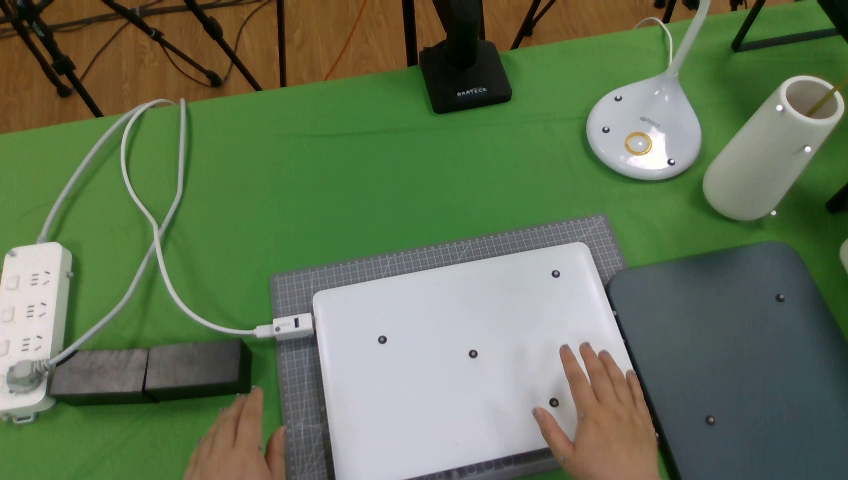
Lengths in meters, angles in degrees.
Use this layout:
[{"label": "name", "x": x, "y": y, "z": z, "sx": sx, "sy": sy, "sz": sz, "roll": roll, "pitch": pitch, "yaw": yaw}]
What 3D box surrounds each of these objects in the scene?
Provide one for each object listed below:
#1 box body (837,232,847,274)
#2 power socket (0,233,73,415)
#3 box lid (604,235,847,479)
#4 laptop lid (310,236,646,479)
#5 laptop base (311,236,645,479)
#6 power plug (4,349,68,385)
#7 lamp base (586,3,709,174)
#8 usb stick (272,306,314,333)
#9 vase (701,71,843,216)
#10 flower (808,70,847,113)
[{"label": "box body", "x": 0.669, "y": 0.100, "z": 0.655, "sx": 0.254, "sy": 0.161, "sz": 0.360, "roll": -8, "pitch": 63, "yaw": -4}, {"label": "power socket", "x": -0.468, "y": 0.091, "z": 0.720, "sx": 0.072, "sy": 0.033, "sz": 0.224, "roll": -8, "pitch": 63, "yaw": -5}, {"label": "box lid", "x": 0.385, "y": 0.170, "z": 0.701, "sx": 0.264, "sy": 0.015, "sz": 0.368, "roll": -10, "pitch": 64, "yaw": -7}, {"label": "laptop lid", "x": 0.056, "y": 0.127, "z": 0.703, "sx": 0.357, "sy": 0.013, "sz": 0.239, "roll": -9, "pitch": 66, "yaw": -5}, {"label": "laptop base", "x": 0.056, "y": 0.130, "z": 0.714, "sx": 0.355, "sy": 0.023, "sz": 0.233, "roll": -10, "pitch": 68, "yaw": -6}, {"label": "power plug", "x": -0.427, "y": 0.143, "z": 0.672, "sx": 0.072, "sy": 0.053, "sz": 0.035, "roll": 2, "pitch": 63, "yaw": -2}, {"label": "lamp base", "x": 0.315, "y": -0.207, "z": 0.798, "sx": 0.160, "sy": 0.181, "sz": 0.178, "roll": 20, "pitch": 62, "yaw": 10}, {"label": "usb stick", "x": -0.148, "y": 0.093, "z": 0.716, "sx": 0.059, "sy": 0.027, "sz": 0.021, "roll": -7, "pitch": 63, "yaw": -10}, {"label": "vase", "x": 0.417, "y": -0.113, "z": 0.740, "sx": 0.098, "sy": 0.201, "sz": 0.097, "roll": -1, "pitch": 61, "yaw": 1}, {"label": "flower", "x": 0.437, "y": -0.154, "z": 0.670, "sx": 0.038, "sy": 0.363, "sz": 0.043, "roll": 6, "pitch": 53, "yaw": -16}]
